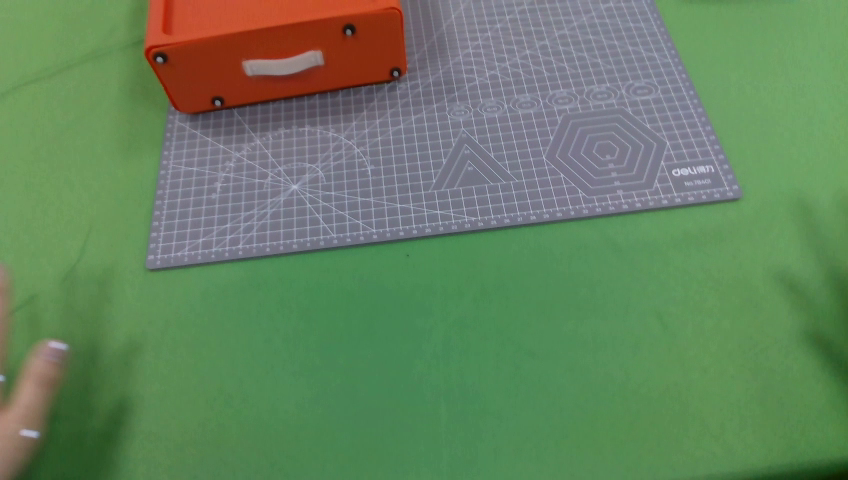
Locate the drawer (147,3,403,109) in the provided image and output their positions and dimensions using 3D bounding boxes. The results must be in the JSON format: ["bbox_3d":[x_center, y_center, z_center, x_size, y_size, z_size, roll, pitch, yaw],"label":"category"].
[{"bbox_3d":[-0.132,-0.228,0.540,0.194,0.074,0.209,-11,59,-3],"label":"drawer"}]

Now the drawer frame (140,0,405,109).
[{"bbox_3d":[-0.134,-0.231,0.541,0.202,0.083,0.211,-11,59,-4],"label":"drawer frame"}]

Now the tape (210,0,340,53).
[{"bbox_3d":[-0.136,-0.229,0.549,0.117,0.053,0.116,-1,60,2],"label":"tape"}]
